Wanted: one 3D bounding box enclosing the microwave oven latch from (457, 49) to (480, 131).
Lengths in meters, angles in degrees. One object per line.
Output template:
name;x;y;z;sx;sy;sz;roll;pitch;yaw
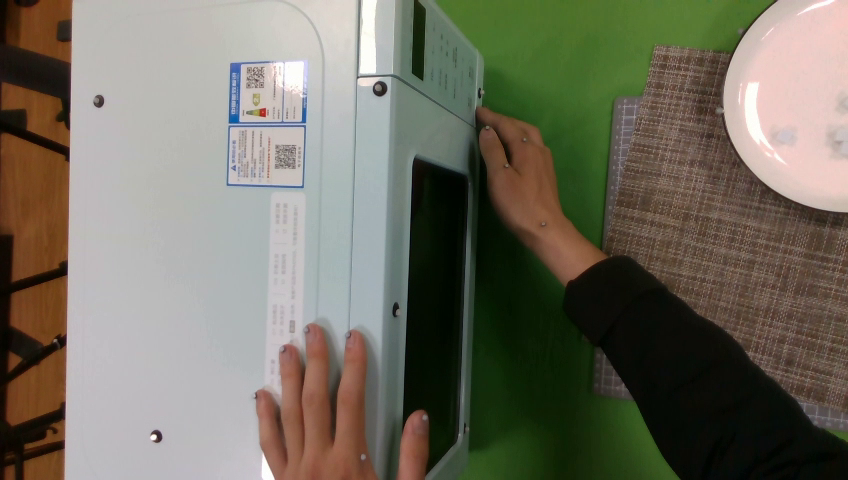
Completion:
microwave oven latch;0.042;-0.153;0.623;0.030;0.029;0.079;4;93;19

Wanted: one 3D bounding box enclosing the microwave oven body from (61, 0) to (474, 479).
microwave oven body;-0.137;0.018;0.587;0.325;0.261;0.441;3;92;19

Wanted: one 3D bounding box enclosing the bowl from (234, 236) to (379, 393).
bowl;-0.105;0.071;0.610;0.151;0.077;0.151;0;90;19

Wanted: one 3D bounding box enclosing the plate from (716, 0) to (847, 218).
plate;0.366;-0.121;0.523;0.208;0.038;0.209;0;90;20

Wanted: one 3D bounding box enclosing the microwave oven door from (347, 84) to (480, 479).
microwave oven door;-0.003;0.066;0.536;0.039;0.245;0.355;3;92;20
